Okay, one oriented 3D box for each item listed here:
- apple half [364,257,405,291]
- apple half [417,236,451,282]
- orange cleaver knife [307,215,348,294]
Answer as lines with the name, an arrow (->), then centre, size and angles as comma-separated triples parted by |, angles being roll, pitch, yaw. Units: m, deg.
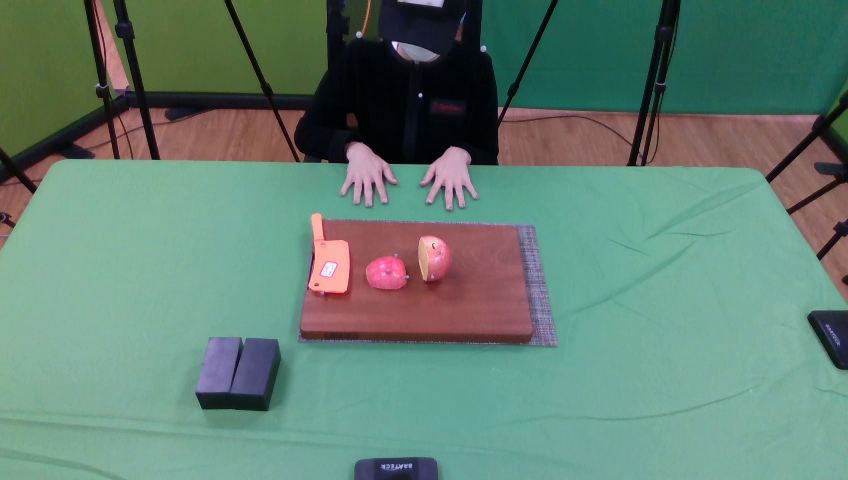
apple half -> -0.070, 0.054, 1.095 | 0.081, 0.033, 0.081 | 4, 45, -4
apple half -> 0.020, 0.035, 1.092 | 0.053, 0.075, 0.080 | -4, 42, -14
orange cleaver knife -> -0.180, 0.023, 1.126 | 0.077, 0.012, 0.210 | -6, 44, -7
